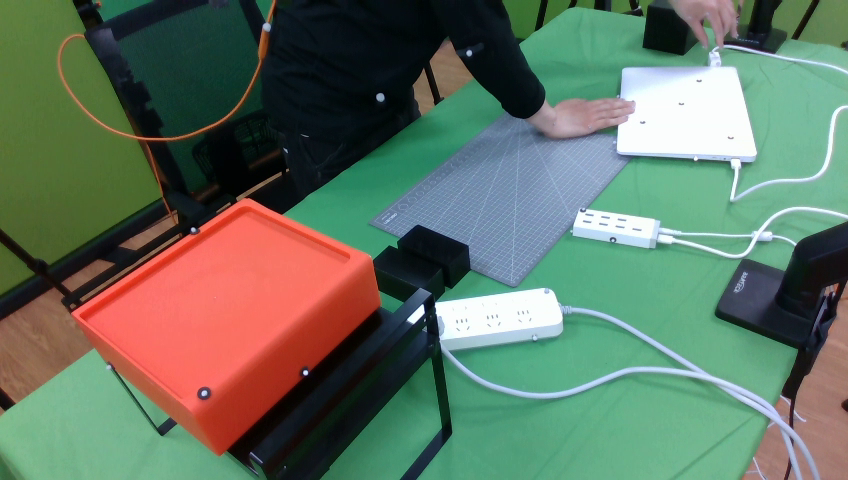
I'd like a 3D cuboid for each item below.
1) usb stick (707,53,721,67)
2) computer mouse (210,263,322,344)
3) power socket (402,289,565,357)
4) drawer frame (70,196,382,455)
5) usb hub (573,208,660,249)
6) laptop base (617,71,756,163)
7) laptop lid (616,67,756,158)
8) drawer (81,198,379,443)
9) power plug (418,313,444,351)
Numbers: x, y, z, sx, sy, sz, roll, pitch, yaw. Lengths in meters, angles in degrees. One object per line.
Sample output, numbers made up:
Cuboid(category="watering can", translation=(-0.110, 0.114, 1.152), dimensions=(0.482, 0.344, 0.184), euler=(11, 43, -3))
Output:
Cuboid(category="usb stick", translation=(0.629, -0.382, 1.312), dimensions=(0.021, 0.027, 0.059), euler=(3, 47, 15))
Cuboid(category="computer mouse", translation=(-0.165, 0.062, 0.624), dimensions=(0.116, 0.041, 0.063), euler=(22, 44, 27))
Cuboid(category="power socket", translation=(0.081, 0.112, 0.822), dimensions=(0.227, 0.033, 0.072), euler=(-7, 41, -1))
Cuboid(category="drawer frame", translation=(-0.186, 0.068, 0.597), dimensions=(0.200, 0.083, 0.214), euler=(23, 49, 30))
Cuboid(category="usb hub", translation=(0.302, -0.019, 0.950), dimensions=(0.124, 0.025, 0.049), euler=(11, 43, 20))
Cuboid(category="laptop base", translation=(0.510, -0.253, 1.203), dimensions=(0.234, 0.023, 0.354), euler=(4, 41, 16))
Cuboid(category="laptop lid", translation=(0.506, -0.263, 1.195), dimensions=(0.241, 0.013, 0.356), euler=(5, 41, 17))
Cuboid(category="drawer", translation=(-0.185, 0.065, 0.600), dimensions=(0.193, 0.073, 0.212), euler=(24, 49, 31))
Cuboid(category="power plug", translation=(0.007, 0.127, 0.786), dimensions=(0.035, 0.053, 0.072), euler=(0, 43, 8))
